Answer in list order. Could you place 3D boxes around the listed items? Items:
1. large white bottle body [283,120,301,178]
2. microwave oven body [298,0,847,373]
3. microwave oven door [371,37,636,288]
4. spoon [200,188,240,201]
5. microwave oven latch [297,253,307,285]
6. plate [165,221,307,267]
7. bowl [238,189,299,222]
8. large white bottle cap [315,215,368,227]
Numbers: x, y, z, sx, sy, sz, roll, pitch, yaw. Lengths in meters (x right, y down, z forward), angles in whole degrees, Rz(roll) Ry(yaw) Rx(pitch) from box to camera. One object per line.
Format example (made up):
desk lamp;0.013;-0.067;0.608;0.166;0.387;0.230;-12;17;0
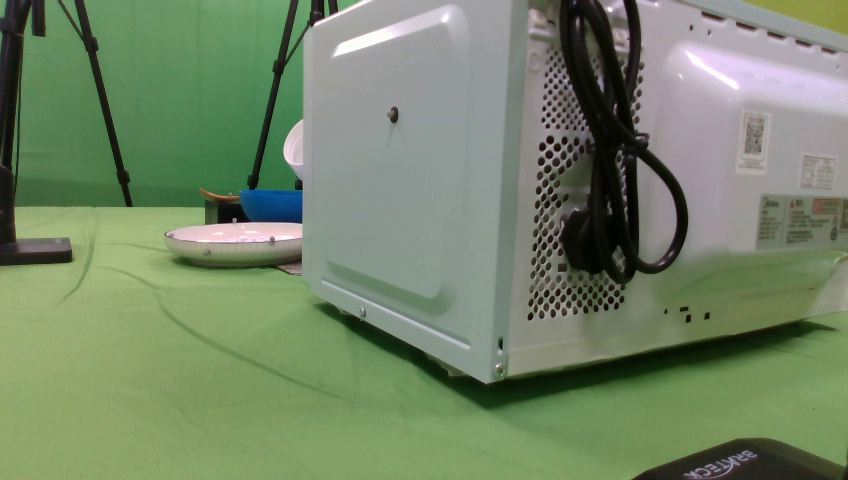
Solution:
large white bottle body;-0.171;-0.148;1.168;0.130;0.130;0.185;8;-18;34
microwave oven body;0.151;-0.055;0.542;0.444;0.260;0.324;-2;7;-33
microwave oven door;0.109;-0.080;0.686;0.358;0.243;0.039;-2;9;-33
spoon;-0.338;-0.080;1.190;0.194;0.021;0.041;5;3;-19
microwave oven latch;-0.082;0.027;0.583;0.079;0.029;0.030;-2;7;-33
plate;-0.241;0.004;0.829;0.209;0.038;0.209;0;9;0
bowl;-0.245;-0.045;1.053;0.151;0.077;0.151;2;8;0
large white bottle cap;-0.177;-0.042;1.309;0.115;0.018;0.115;2;6;0
